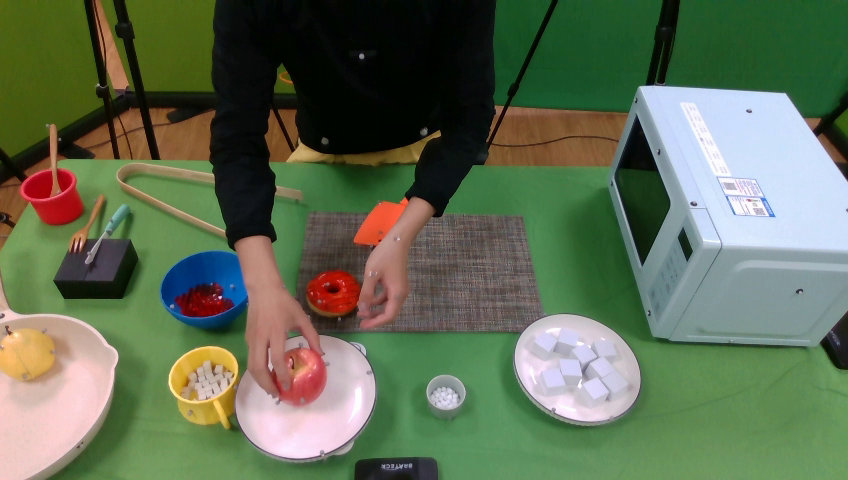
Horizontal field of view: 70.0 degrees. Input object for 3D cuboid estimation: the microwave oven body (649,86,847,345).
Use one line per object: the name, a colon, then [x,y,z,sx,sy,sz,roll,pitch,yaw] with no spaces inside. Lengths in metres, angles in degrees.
microwave oven body: [0.567,-0.053,1.118,0.326,0.261,0.439,2,45,-1]

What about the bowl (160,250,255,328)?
bowl: [-0.362,0.098,1.040,0.151,0.077,0.150,2,45,-2]

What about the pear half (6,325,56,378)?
pear half: [-0.608,0.158,0.935,0.076,0.110,0.056,31,51,20]

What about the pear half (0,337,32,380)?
pear half: [-0.631,0.184,0.921,0.070,0.088,0.031,29,49,19]

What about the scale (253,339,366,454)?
scale: [-0.175,0.237,0.951,0.149,0.032,0.199,4,46,0]

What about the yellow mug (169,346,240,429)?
yellow mug: [-0.323,0.231,0.922,0.100,0.064,0.130,-24,53,-26]

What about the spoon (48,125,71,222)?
spoon: [-0.718,-0.131,1.188,0.042,0.021,0.193,-3,90,-7]

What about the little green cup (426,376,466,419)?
little green cup: [0.033,0.248,0.950,0.061,0.039,0.061,2,46,-2]

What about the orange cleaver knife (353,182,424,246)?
orange cleaver knife: [-0.070,-0.058,1.246,0.077,0.012,0.210,18,49,20]

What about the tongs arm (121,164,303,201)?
tongs arm: [-0.444,-0.114,1.267,0.384,0.026,0.050,12,50,8]

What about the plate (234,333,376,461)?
plate: [-0.175,0.235,0.907,0.209,0.038,0.208,2,46,-2]

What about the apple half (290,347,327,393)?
apple half: [-0.164,0.188,0.895,0.033,0.082,0.081,-35,57,-28]

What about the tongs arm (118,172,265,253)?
tongs arm: [-0.473,-0.054,1.212,0.386,0.028,0.028,23,56,18]

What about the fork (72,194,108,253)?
fork: [-0.634,-0.036,1.158,0.028,0.019,0.206,-7,32,-9]

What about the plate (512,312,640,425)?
plate: [0.246,0.213,0.999,0.208,0.039,0.206,2,46,-2]

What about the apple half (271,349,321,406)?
apple half: [-0.192,0.207,0.876,0.053,0.075,0.080,-35,59,-28]

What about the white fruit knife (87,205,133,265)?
white fruit knife: [-0.584,-0.013,1.129,0.016,0.027,0.206,0,31,-5]

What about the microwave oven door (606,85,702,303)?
microwave oven door: [0.422,-0.094,1.140,0.039,0.245,0.353,2,46,-1]

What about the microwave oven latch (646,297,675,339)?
microwave oven latch: [0.412,0.134,1.061,0.030,0.029,0.078,4,45,1]

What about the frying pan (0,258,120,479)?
frying pan: [-0.647,0.164,0.936,0.307,0.103,0.485,-19,58,-22]

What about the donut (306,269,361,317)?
donut: [-0.160,0.095,1.075,0.099,0.048,0.098,4,44,-3]
